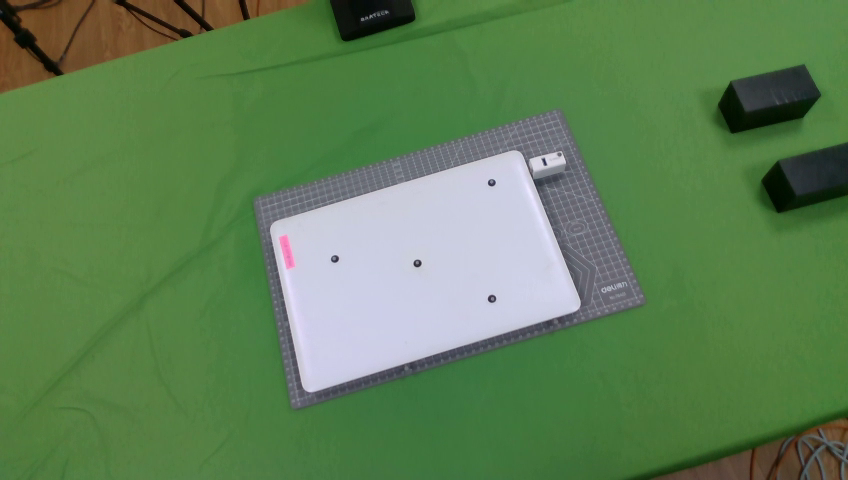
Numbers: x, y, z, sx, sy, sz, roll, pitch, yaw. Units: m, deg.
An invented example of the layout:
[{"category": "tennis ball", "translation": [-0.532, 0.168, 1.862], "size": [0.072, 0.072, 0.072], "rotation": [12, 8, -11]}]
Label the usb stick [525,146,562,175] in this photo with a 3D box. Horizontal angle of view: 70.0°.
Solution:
[{"category": "usb stick", "translation": [0.151, -0.103, 0.800], "size": [0.059, 0.027, 0.021], "rotation": [-16, 68, 2]}]

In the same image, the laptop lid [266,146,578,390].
[{"category": "laptop lid", "translation": [-0.011, 0.027, 0.765], "size": [0.357, 0.013, 0.240], "rotation": [-16, 70, -1]}]

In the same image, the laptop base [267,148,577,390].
[{"category": "laptop base", "translation": [-0.010, 0.029, 0.777], "size": [0.354, 0.023, 0.233], "rotation": [-17, 71, -1]}]
